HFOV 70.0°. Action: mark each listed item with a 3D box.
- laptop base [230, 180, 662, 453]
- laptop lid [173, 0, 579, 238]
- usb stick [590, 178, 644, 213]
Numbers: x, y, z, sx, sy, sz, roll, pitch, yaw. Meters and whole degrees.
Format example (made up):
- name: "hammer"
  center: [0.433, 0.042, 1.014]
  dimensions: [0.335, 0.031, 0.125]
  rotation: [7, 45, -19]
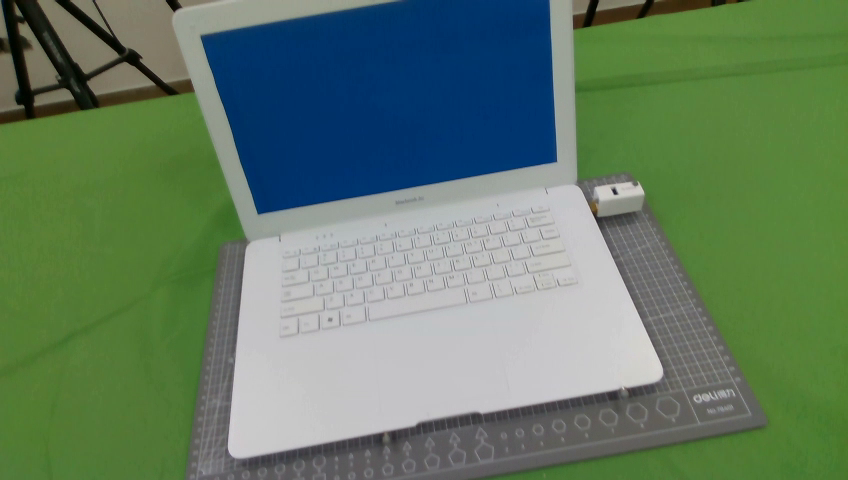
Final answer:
- name: "laptop base"
  center: [0.005, 0.057, 0.559]
  dimensions: [0.354, 0.023, 0.233]
  rotation: [-10, 50, 0]
- name: "laptop lid"
  center: [-0.028, -0.129, 0.579]
  dimensions: [0.357, 0.244, 0.013]
  rotation: [-11, 30, 0]
- name: "usb stick"
  center: [0.187, -0.043, 0.604]
  dimensions: [0.059, 0.027, 0.021]
  rotation: [-10, 48, 3]
